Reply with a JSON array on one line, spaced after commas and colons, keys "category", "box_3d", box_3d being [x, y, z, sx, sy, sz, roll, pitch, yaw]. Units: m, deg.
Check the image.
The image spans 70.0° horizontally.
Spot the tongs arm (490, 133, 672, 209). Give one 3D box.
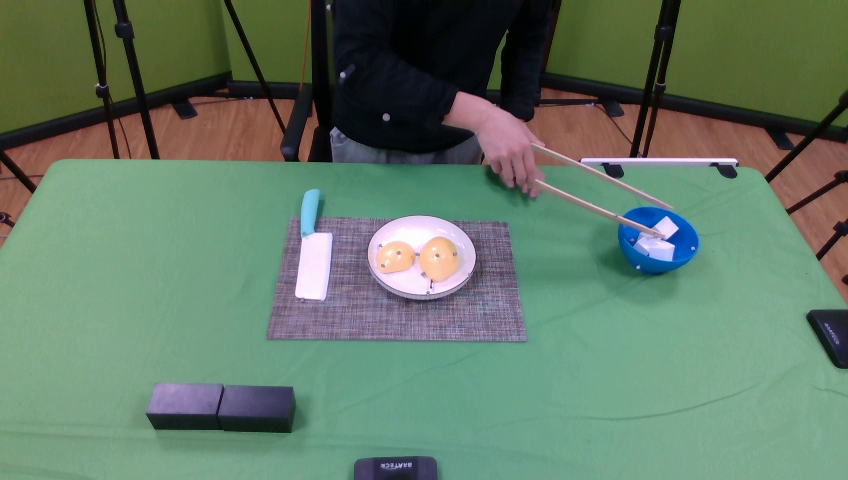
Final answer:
[{"category": "tongs arm", "box_3d": [0.298, -0.124, 1.118, 0.389, 0.027, 0.028, 20, 86, -17]}]

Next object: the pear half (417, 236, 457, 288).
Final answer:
[{"category": "pear half", "box_3d": [0.022, 0.039, 1.127, 0.076, 0.056, 0.109, 6, 50, 7]}]

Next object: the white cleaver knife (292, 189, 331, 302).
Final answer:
[{"category": "white cleaver knife", "box_3d": [-0.215, 0.006, 1.178, 0.066, 0.021, 0.284, 5, 49, -12]}]

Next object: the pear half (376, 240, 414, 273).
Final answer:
[{"category": "pear half", "box_3d": [-0.058, 0.026, 1.145, 0.070, 0.031, 0.088, 23, 43, 22]}]

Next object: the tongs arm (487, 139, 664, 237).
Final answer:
[{"category": "tongs arm", "box_3d": [0.286, -0.090, 1.113, 0.386, 0.026, 0.050, 19, 82, -17]}]

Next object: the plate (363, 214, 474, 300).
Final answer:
[{"category": "plate", "box_3d": [-0.010, 0.036, 1.146, 0.208, 0.039, 0.206, 3, 46, -2]}]

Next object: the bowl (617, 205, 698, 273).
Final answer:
[{"category": "bowl", "box_3d": [0.443, 0.010, 1.182, 0.151, 0.077, 0.150, 2, 46, -2]}]
